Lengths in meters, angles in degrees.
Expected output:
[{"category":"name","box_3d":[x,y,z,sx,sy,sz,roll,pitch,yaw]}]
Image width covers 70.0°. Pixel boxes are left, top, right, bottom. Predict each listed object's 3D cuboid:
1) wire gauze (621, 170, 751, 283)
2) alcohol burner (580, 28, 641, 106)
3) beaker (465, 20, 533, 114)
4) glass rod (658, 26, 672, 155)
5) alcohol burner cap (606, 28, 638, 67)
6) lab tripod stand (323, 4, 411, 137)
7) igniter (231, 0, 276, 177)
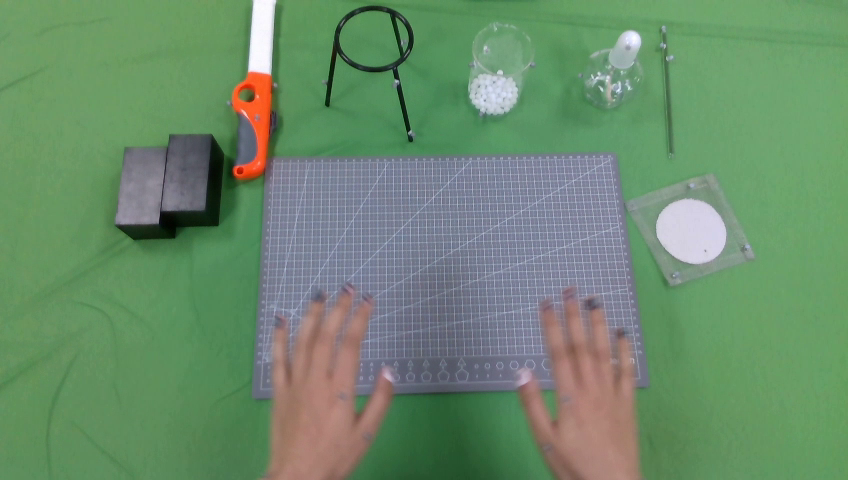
[{"category":"wire gauze","box_3d":[0.329,-0.018,0.757,0.125,0.011,0.120,-19,73,-5]},{"category":"alcohol burner","box_3d":[0.241,-0.224,0.767,0.078,0.120,0.077,1,69,-1]},{"category":"beaker","box_3d":[0.090,-0.215,0.767,0.074,0.101,0.083,-10,71,-5]},{"category":"glass rod","box_3d":[0.325,-0.206,0.818,0.008,0.008,0.198,4,72,-1]},{"category":"alcohol burner cap","box_3d":[0.242,-0.235,0.732,0.034,0.048,0.033,0,76,1]},{"category":"lab tripod stand","box_3d":[-0.060,-0.213,0.743,0.148,0.132,0.147,0,70,0]},{"category":"igniter","box_3d":[-0.220,-0.208,0.791,0.057,0.025,0.274,5,71,-16]}]
